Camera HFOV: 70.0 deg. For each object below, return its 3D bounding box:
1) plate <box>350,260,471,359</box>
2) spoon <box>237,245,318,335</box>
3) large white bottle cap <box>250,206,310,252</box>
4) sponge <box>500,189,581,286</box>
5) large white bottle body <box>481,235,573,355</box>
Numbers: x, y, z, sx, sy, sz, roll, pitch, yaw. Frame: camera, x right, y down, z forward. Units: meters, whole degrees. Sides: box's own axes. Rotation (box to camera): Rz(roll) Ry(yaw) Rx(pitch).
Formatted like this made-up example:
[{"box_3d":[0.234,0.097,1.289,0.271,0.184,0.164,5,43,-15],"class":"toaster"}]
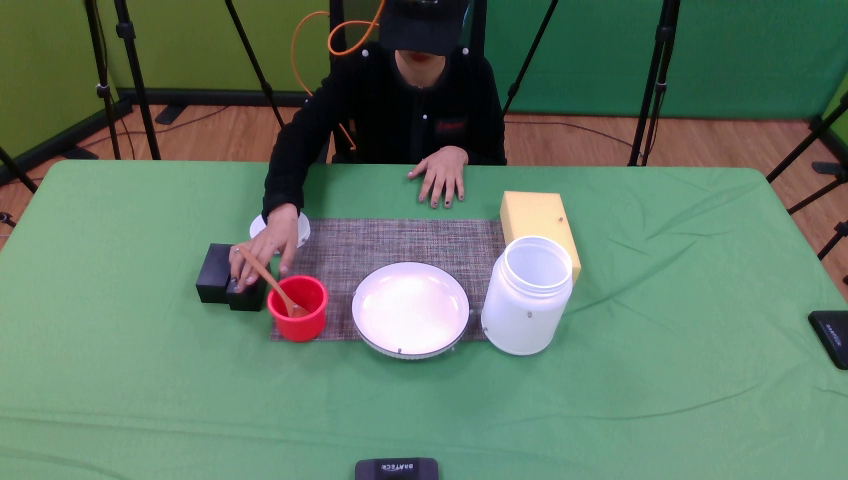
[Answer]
[{"box_3d":[-0.024,0.124,1.061,0.209,0.038,0.208,2,46,-2],"class":"plate"},{"box_3d":[-0.244,0.082,1.010,0.041,0.021,0.194,-46,108,-35],"class":"spoon"},{"box_3d":[-0.285,-0.022,1.197,0.115,0.018,0.114,1,46,-1],"class":"large white bottle cap"},{"box_3d":[0.224,-0.007,1.192,0.118,0.061,0.205,1,47,-6],"class":"sponge"},{"box_3d":[0.171,0.091,1.006,0.131,0.185,0.130,3,48,-3],"class":"large white bottle body"}]
